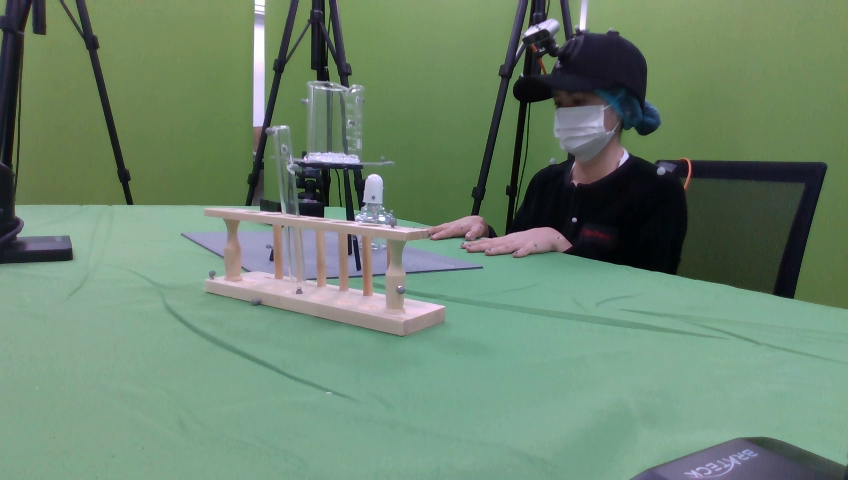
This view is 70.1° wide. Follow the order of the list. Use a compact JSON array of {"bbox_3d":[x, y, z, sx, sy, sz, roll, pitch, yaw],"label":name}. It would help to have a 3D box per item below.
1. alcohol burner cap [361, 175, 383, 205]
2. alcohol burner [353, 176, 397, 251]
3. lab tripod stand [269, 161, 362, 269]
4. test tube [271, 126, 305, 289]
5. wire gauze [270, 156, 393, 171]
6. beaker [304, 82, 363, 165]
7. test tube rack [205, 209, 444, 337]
[{"bbox_3d":[-0.080,-0.078,0.945,0.034,0.048,0.034,5,7,0],"label":"alcohol burner cap"},{"bbox_3d":[-0.082,-0.043,0.950,0.078,0.119,0.078,1,8,0],"label":"alcohol burner"},{"bbox_3d":[-0.125,-0.036,0.794,0.148,0.131,0.148,5,7,0],"label":"lab tripod stand"},{"bbox_3d":[-0.124,-0.028,0.554,0.017,0.150,0.017,-5,7,1],"label":"test tube"},{"bbox_3d":[-0.122,-0.100,0.786,0.122,0.011,0.124,-5,14,-38],"label":"wire gauze"},{"bbox_3d":[-0.115,-0.148,0.779,0.074,0.100,0.083,-2,10,-30],"label":"beaker"},{"bbox_3d":[-0.100,0.021,0.565,0.241,0.085,0.067,7,9,32],"label":"test tube rack"}]
